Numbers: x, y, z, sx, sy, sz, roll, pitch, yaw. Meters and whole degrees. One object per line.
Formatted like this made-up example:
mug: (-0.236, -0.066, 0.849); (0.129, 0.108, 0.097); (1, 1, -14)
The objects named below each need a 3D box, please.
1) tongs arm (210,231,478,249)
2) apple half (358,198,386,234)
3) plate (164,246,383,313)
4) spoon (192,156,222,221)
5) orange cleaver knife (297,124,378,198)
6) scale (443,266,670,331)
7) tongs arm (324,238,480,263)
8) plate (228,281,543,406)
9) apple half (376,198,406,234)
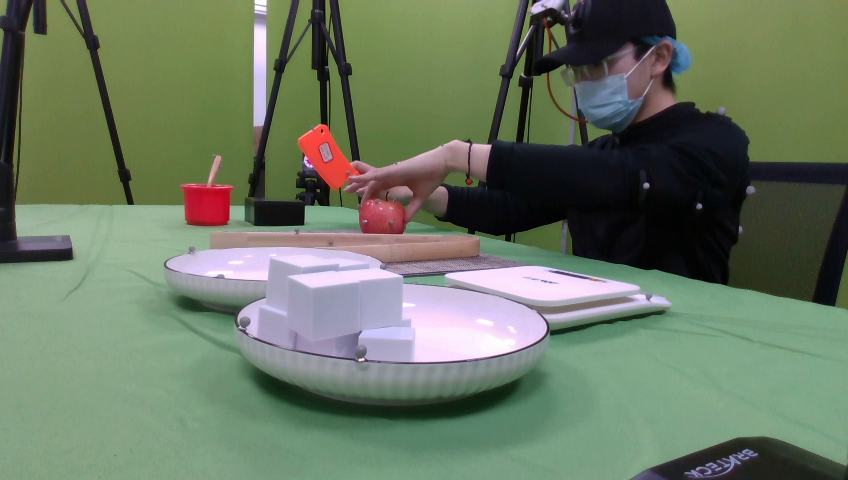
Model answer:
tongs arm: (-0.106, 0.005, 0.876); (0.386, 0.026, 0.050); (1, 7, -20)
apple half: (-0.091, -0.033, 0.998); (0.033, 0.081, 0.081); (2, 7, -27)
plate: (-0.145, 0.038, 0.600); (0.209, 0.038, 0.209); (2, 7, 0)
spoon: (-0.430, -0.108, 1.222); (0.041, 0.021, 0.193); (-1, 52, 0)
orange cleaver knife: (-0.166, -0.139, 1.186); (0.012, 0.077, 0.212); (18, -24, 47)
scale: (0.131, 0.052, 0.603); (0.202, 0.031, 0.148); (-2, 9, -37)
tongs arm: (-0.070, 0.018, 0.801); (0.390, 0.028, 0.028); (-2, 5, -34)
plate: (-0.025, 0.067, 0.413); (0.208, 0.039, 0.207); (3, 7, 0)
apple half: (-0.058, -0.033, 1.018); (0.053, 0.074, 0.080); (2, 4, -27)
